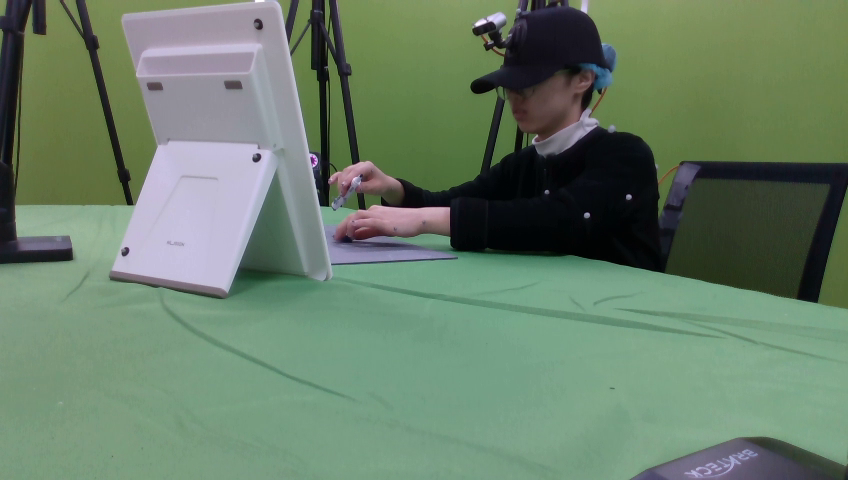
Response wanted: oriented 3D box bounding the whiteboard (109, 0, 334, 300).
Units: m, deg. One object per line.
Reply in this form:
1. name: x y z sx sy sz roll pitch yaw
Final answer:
1. whiteboard: -0.247 -0.072 0.624 0.216 0.305 0.144 6 28 26

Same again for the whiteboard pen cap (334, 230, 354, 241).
1. whiteboard pen cap: -0.135 -0.008 1.016 0.033 0.018 0.018 5 7 37

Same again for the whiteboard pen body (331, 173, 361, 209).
1. whiteboard pen body: -0.142 -0.091 1.115 0.017 0.017 0.140 -2 -20 -30
